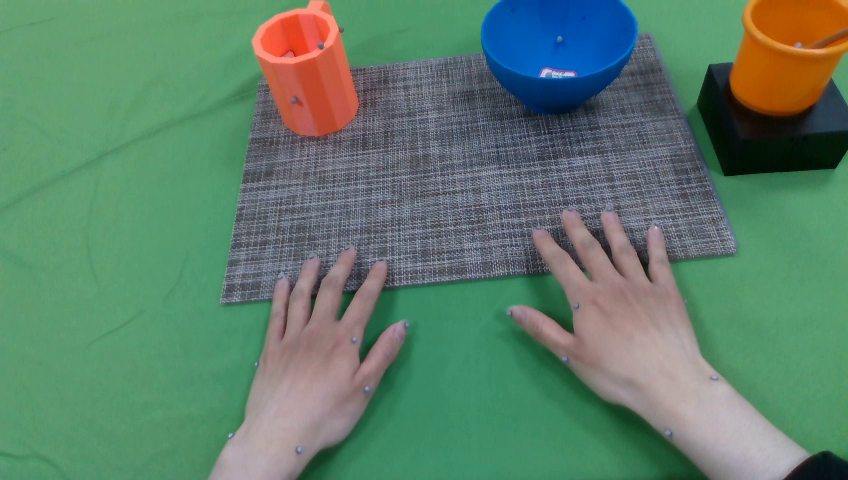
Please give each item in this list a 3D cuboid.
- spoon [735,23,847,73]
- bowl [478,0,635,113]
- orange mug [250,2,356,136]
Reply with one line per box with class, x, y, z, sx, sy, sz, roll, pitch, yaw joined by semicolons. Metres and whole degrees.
spoon;0.336;-0.163;0.477;0.041;0.193;0.022;-36;102;-20
bowl;0.131;-0.184;0.618;0.151;0.077;0.150;-3;55;5
orange mug;-0.120;-0.188;0.640;0.083;0.102;0.125;5;60;11
